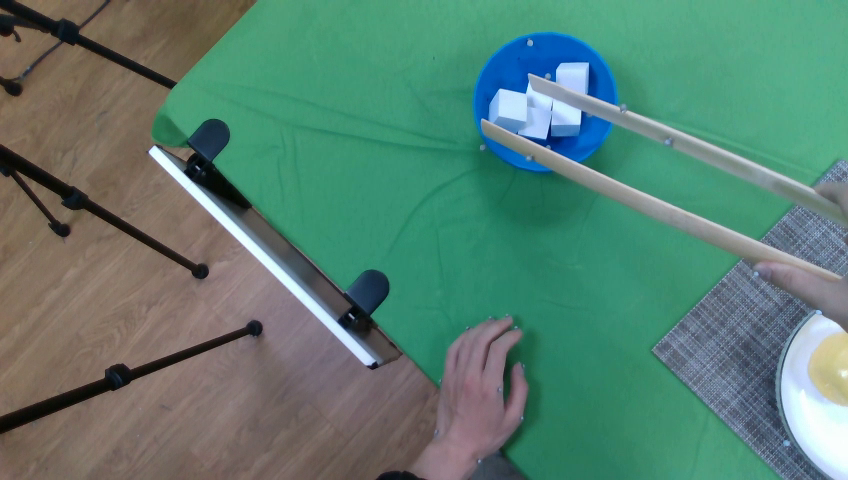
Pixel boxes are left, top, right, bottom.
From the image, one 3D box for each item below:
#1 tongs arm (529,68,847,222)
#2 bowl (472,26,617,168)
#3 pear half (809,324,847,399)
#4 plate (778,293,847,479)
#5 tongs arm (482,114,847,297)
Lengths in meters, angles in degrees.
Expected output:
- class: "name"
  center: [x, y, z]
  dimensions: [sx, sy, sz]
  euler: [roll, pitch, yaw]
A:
- class: "tongs arm"
  center: [0.228, -0.072, 0.527]
  dimensions: [0.381, 0.027, 0.050]
  euler: [34, 73, 35]
- class: "bowl"
  center: [0.129, -0.146, 0.668]
  dimensions: [0.151, 0.077, 0.151]
  euler: [-1, 84, 5]
- class: "pear half"
  center: [0.459, 0.114, 0.615]
  dimensions: [0.110, 0.056, 0.076]
  euler: [-35, 86, -3]
- class: "plate"
  center: [0.471, 0.149, 0.624]
  dimensions: [0.207, 0.039, 0.207]
  euler: [-1, 84, 6]
- class: "tongs arm"
  center: [0.198, -0.040, 0.518]
  dimensions: [0.383, 0.028, 0.028]
  euler: [32, 68, 35]
